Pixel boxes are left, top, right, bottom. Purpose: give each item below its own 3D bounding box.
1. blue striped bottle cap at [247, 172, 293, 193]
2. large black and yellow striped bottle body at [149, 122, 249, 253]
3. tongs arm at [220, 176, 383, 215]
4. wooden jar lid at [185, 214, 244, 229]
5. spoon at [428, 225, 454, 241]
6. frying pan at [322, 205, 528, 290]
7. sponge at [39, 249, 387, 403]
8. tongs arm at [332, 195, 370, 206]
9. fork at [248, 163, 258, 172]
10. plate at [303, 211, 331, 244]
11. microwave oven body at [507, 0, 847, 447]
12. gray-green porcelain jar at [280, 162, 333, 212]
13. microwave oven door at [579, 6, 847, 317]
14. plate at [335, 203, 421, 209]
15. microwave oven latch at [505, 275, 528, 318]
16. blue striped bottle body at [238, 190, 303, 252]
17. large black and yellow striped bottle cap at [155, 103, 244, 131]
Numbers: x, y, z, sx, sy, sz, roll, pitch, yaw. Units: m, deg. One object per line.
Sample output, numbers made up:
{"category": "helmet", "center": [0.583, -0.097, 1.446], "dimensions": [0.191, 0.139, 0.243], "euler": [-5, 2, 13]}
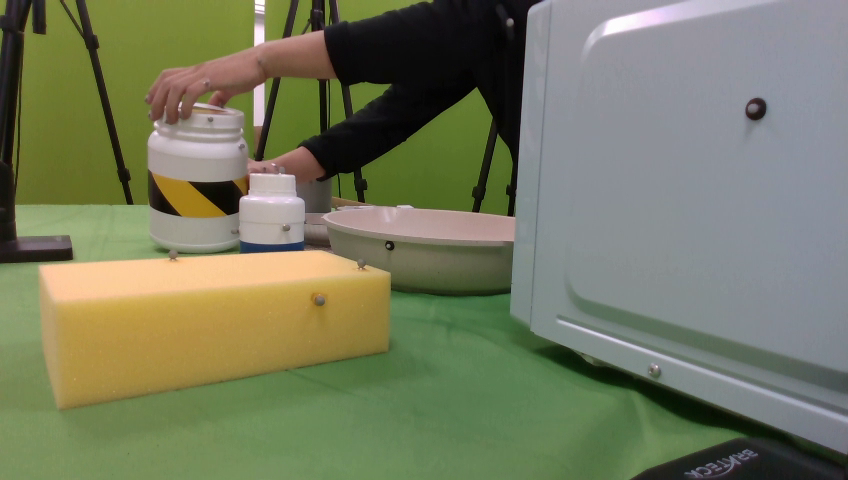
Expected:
{"category": "blue striped bottle cap", "center": [-0.152, -0.057, 0.598], "dimensions": [0.044, 0.020, 0.044], "euler": [3, 6, 0]}
{"category": "large black and yellow striped bottle body", "center": [-0.317, -0.087, 0.858], "dimensions": [0.131, 0.184, 0.130], "euler": [7, 20, -2]}
{"category": "tongs arm", "center": [-0.285, -0.104, 1.445], "dimensions": [0.389, 0.027, 0.028], "euler": [9, -4, -23]}
{"category": "wooden jar lid", "center": [-0.404, -0.037, 1.169], "dimensions": [0.108, 0.020, 0.108], "euler": [3, 7, 0]}
{"category": "spoon", "center": [0.024, -0.018, 1.124], "dimensions": [0.042, 0.021, 0.193], "euler": [-19, 10, -4]}
{"category": "frying pan", "center": [0.110, -0.018, 0.800], "dimensions": [0.490, 0.102, 0.305], "euler": [-12, 16, -30]}
{"category": "sponge", "center": [-0.142, 0.047, 0.420], "dimensions": [0.208, 0.061, 0.117], "euler": [-3, 8, -37]}
{"category": "tongs arm", "center": [-0.241, -0.095, 1.374], "dimensions": [0.387, 0.026, 0.050], "euler": [9, 0, -37]}
{"category": "fork", "center": [-0.396, -0.143, 1.486], "dimensions": [0.028, 0.018, 0.208], "euler": [20, -26, 45]}
{"category": "plate", "center": [-0.139, -0.022, 1.020], "dimensions": [0.209, 0.038, 0.209], "euler": [2, 8, 0]}
{"category": "microwave oven body", "center": [0.331, -0.042, 0.425], "dimensions": [0.444, 0.260, 0.324], "euler": [-2, 8, -31]}
{"category": "gray-green porcelain jar", "center": [-0.238, -0.092, 1.221], "dimensions": [0.106, 0.126, 0.106], "euler": [2, 7, 0]}
{"category": "microwave oven door", "center": [0.294, -0.067, 0.570], "dimensions": [0.358, 0.243, 0.039], "euler": [-3, 9, -31]}
{"category": "plate", "center": [-0.089, -0.053, 1.309], "dimensions": [0.208, 0.039, 0.207], "euler": [2, 8, 0]}
{"category": "microwave oven latch", "center": [0.100, 0.041, 0.472], "dimensions": [0.079, 0.029, 0.030], "euler": [-2, 8, -30]}
{"category": "blue striped bottle body", "center": [-0.153, -0.007, 0.605], "dimensions": [0.063, 0.120, 0.063], "euler": [2, 7, 0]}
{"category": "large black and yellow striped bottle cap", "center": [-0.305, -0.169, 0.828], "dimensions": [0.115, 0.019, 0.115], "euler": [7, 18, -2]}
